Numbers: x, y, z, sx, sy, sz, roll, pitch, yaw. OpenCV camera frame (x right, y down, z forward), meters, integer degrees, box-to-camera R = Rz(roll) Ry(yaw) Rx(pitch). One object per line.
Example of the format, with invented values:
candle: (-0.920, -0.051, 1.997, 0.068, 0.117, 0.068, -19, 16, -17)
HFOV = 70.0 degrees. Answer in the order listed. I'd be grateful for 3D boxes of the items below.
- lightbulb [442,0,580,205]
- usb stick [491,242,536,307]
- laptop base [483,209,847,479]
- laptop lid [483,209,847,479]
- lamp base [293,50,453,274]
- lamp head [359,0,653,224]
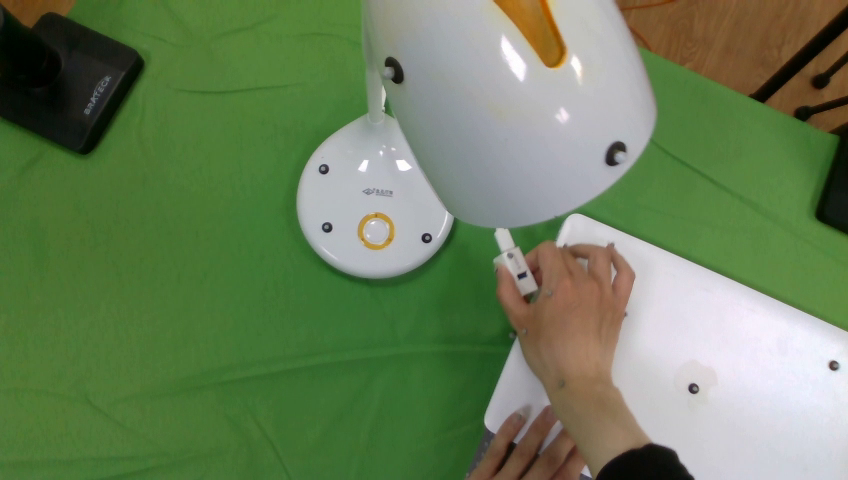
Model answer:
lightbulb: (0.035, -0.062, 0.273, 0.059, 0.109, 0.059, -15, 44, 15)
usb stick: (0.087, 0.034, 0.572, 0.021, 0.027, 0.059, -19, 84, -26)
laptop base: (0.259, 0.141, 0.601, 0.354, 0.023, 0.235, 24, 81, 1)
laptop lid: (0.259, 0.140, 0.589, 0.356, 0.013, 0.241, 25, 80, 1)
lamp base: (-0.047, -0.072, 0.536, 0.161, 0.181, 0.178, -6, 77, -5)
lamp head: (0.025, -0.086, 0.256, 0.112, 0.111, 0.124, -46, 127, -10)
